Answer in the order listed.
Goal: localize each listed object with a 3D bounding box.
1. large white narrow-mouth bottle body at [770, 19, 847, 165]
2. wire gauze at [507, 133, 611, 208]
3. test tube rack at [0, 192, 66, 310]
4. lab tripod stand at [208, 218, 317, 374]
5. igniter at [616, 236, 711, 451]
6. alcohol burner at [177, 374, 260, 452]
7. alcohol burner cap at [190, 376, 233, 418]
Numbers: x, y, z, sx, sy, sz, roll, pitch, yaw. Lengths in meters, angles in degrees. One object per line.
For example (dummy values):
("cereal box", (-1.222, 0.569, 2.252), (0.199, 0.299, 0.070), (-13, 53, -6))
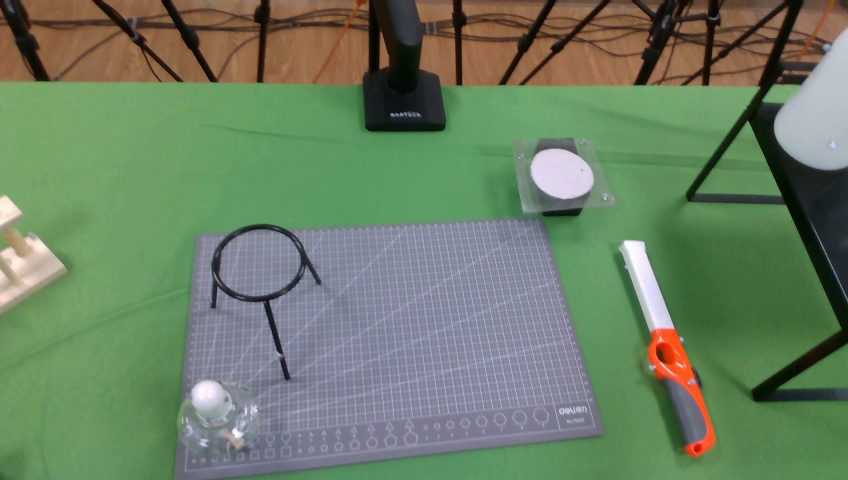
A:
("large white narrow-mouth bottle body", (0.453, -0.174, 0.622), (0.102, 0.196, 0.101), (3, 56, -4))
("wire gauze", (0.177, -0.096, 0.807), (0.122, 0.011, 0.124), (-2, 58, -8))
("test tube rack", (-0.519, 0.060, 0.628), (0.066, 0.086, 0.242), (39, 60, 18))
("lab tripod stand", (-0.168, 0.053, 0.645), (0.149, 0.132, 0.147), (4, 57, -6))
("igniter", (0.285, 0.113, 0.730), (0.057, 0.025, 0.274), (4, 56, -17))
("alcohol burner", (-0.200, 0.160, 0.583), (0.078, 0.120, 0.077), (4, 55, -6))
("alcohol burner cap", (-0.196, 0.141, 0.552), (0.034, 0.048, 0.033), (3, 62, -5))
